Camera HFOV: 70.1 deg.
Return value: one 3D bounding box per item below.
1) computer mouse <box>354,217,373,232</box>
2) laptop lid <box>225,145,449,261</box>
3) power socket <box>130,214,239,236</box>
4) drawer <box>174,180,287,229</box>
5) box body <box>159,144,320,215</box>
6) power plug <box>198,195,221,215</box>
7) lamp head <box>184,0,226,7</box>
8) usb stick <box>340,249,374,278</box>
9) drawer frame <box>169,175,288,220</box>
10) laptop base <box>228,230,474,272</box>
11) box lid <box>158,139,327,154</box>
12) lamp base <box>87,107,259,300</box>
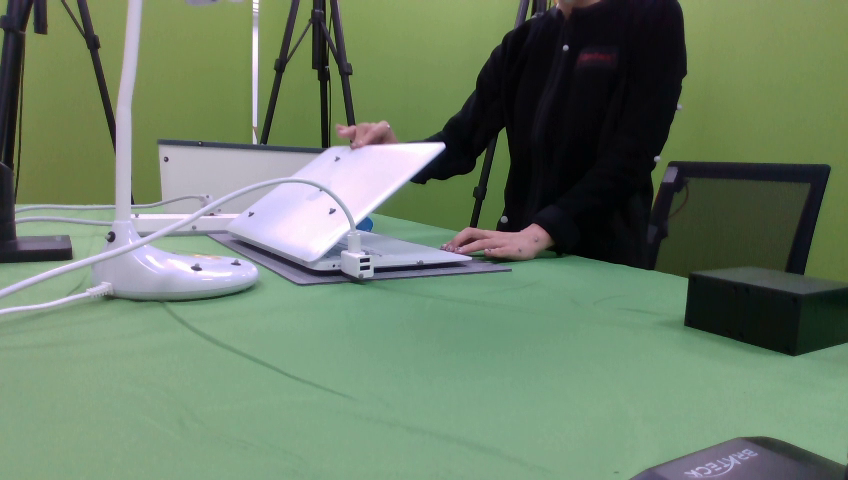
[{"bbox_3d":[-0.156,-0.033,1.139,0.118,0.041,0.062,-6,12,-28],"label":"computer mouse"},{"bbox_3d":[-0.142,-0.070,0.863,0.242,0.013,0.355,-41,27,-21],"label":"laptop lid"},{"bbox_3d":[-0.397,-0.028,1.048,0.228,0.032,0.072,-3,7,-35],"label":"power socket"},{"bbox_3d":[-0.413,-0.080,1.325,0.212,0.073,0.194,-8,11,-8],"label":"drawer"},{"bbox_3d":[-0.364,-0.128,1.337,0.365,0.160,0.253,1,7,-8],"label":"box body"},{"bbox_3d":[-0.386,-0.055,1.088,0.035,0.052,0.072,-1,6,-24],"label":"power plug"},{"bbox_3d":[-0.229,-0.320,0.627,0.112,0.112,0.123,6,-36,26],"label":"lamp head"},{"bbox_3d":[-0.079,0.026,0.686,0.021,0.027,0.059,-8,9,-31],"label":"usb stick"},{"bbox_3d":[-0.414,-0.096,1.320,0.214,0.082,0.201,-5,7,-8],"label":"drawer frame"},{"bbox_3d":[-0.124,0.012,0.889,0.237,0.023,0.352,2,6,-35],"label":"laptop base"},{"bbox_3d":[-0.363,-0.201,1.328,0.372,0.015,0.262,2,7,-8],"label":"box lid"},{"bbox_3d":[-0.254,-0.039,0.603,0.160,0.180,0.179,5,10,18],"label":"lamp base"}]
